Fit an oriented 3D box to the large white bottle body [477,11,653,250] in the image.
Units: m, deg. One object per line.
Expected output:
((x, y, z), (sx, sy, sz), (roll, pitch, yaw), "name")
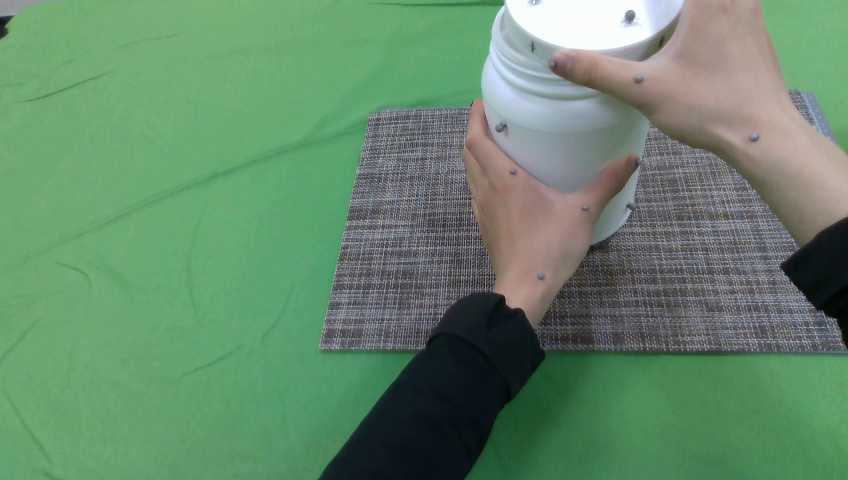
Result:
((0.110, -0.095, 0.492), (0.130, 0.186, 0.129), (-4, 51, 6), "large white bottle body")

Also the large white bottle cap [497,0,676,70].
((0.105, -0.157, 0.399), (0.115, 0.018, 0.114), (-3, 58, 6), "large white bottle cap")
